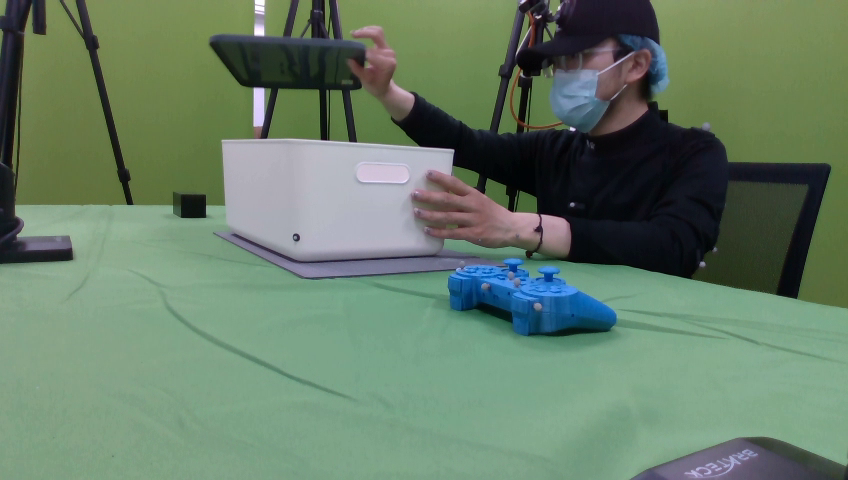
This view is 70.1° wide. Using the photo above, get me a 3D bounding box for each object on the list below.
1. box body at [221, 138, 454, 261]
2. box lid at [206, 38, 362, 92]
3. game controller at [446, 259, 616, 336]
[{"bbox_3d":[-0.152,-0.074,0.963,0.255,0.160,0.362,-3,9,-33],"label":"box body"},{"bbox_3d":[-0.254,-0.334,1.186,0.264,0.015,0.371,-1,2,-6],"label":"box lid"},{"bbox_3d":[0.091,0.048,0.562,0.097,0.051,0.154,-6,10,-32],"label":"game controller"}]
